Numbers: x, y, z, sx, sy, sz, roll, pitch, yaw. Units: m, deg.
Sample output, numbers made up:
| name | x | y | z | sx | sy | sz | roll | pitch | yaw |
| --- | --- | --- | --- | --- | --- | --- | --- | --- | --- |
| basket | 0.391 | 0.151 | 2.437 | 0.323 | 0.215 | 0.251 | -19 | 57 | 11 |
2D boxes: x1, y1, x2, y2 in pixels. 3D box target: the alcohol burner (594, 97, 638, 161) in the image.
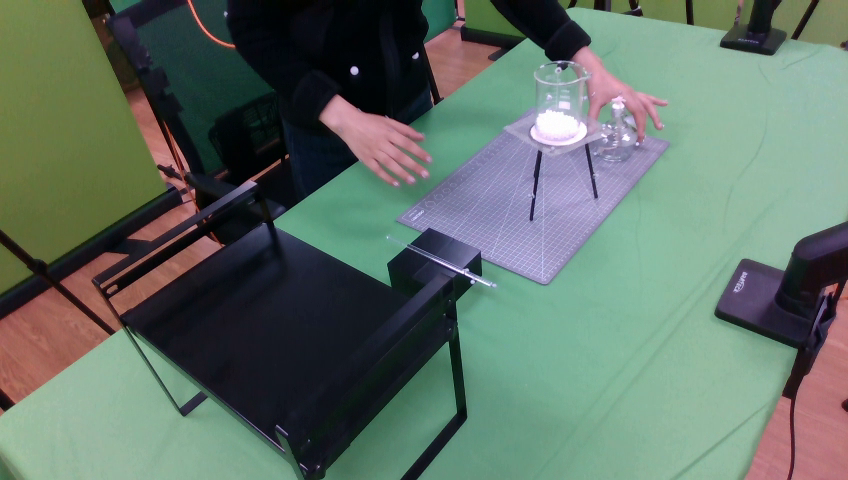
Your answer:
| name | x | y | z | sx | sy | sz | roll | pitch | yaw |
| --- | --- | --- | --- | --- | --- | --- | --- | --- | --- |
| alcohol burner | 0.345 | -0.203 | 1.083 | 0.078 | 0.119 | 0.077 | -5 | 42 | 5 |

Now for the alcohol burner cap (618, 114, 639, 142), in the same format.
| name | x | y | z | sx | sy | sz | roll | pitch | yaw |
| --- | --- | --- | --- | --- | --- | --- | --- | --- | --- |
| alcohol burner cap | 0.389 | -0.214 | 1.144 | 0.034 | 0.048 | 0.033 | 0 | 37 | 1 |

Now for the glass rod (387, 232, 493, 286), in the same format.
| name | x | y | z | sx | sy | sz | roll | pitch | yaw |
| --- | --- | --- | --- | --- | --- | --- | --- | --- | --- |
| glass rod | 0.018 | 0.026 | 0.878 | 0.198 | 0.008 | 0.008 | 25 | 50 | 33 |

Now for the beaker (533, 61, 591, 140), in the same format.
| name | x | y | z | sx | sy | sz | roll | pitch | yaw |
| --- | --- | --- | --- | --- | --- | --- | --- | --- | --- |
| beaker | 0.208 | -0.210 | 0.922 | 0.083 | 0.101 | 0.074 | 5 | 44 | 14 |

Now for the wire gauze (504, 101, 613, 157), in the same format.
| name | x | y | z | sx | sy | sz | roll | pitch | yaw |
| --- | --- | --- | --- | --- | --- | --- | --- | --- | --- |
| wire gauze | 0.211 | -0.175 | 0.956 | 0.125 | 0.011 | 0.120 | -26 | 43 | -17 |

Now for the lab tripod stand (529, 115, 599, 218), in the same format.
| name | x | y | z | sx | sy | sz | roll | pitch | yaw |
| --- | --- | --- | --- | --- | --- | --- | --- | --- | --- |
| lab tripod stand | 0.218 | -0.123 | 0.995 | 0.148 | 0.132 | 0.147 | -4 | 42 | 4 |
